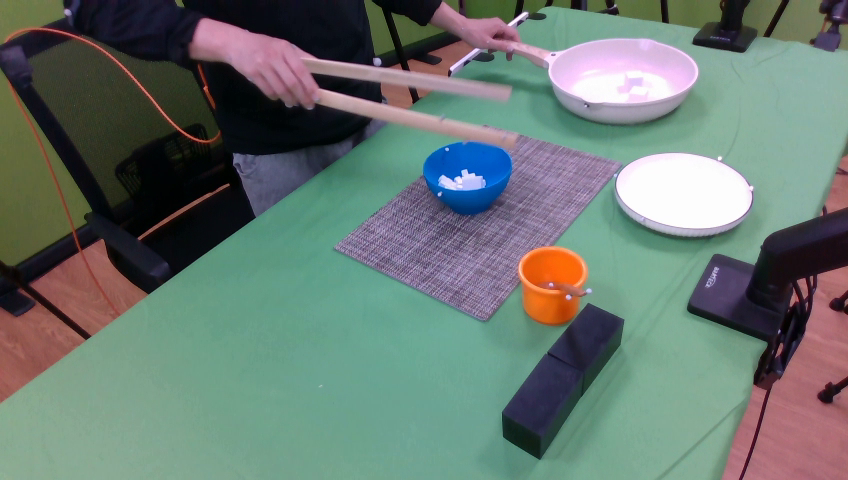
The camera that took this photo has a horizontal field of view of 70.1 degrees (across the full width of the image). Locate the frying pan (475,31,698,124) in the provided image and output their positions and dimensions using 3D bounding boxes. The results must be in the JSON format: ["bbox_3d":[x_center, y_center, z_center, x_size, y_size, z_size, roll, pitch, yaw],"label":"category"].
[{"bbox_3d":[0.320,-0.371,1.290,0.485,0.103,0.307,28,50,23],"label":"frying pan"}]

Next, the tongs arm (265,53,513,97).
[{"bbox_3d":[-0.046,-0.253,0.941,0.389,0.028,0.028,4,55,-12],"label":"tongs arm"}]

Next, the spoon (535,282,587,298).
[{"bbox_3d":[0.176,0.063,0.774,0.041,0.194,0.021,-3,85,1],"label":"spoon"}]

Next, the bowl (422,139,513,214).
[{"bbox_3d":[0.075,-0.097,1.021,0.151,0.077,0.150,-4,41,4],"label":"bowl"}]

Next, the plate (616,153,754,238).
[{"bbox_3d":[0.416,-0.069,0.977,0.207,0.039,0.206,-4,40,4],"label":"plate"}]

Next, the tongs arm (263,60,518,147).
[{"bbox_3d":[-0.049,-0.201,0.896,0.386,0.026,0.050,11,50,-6],"label":"tongs arm"}]
